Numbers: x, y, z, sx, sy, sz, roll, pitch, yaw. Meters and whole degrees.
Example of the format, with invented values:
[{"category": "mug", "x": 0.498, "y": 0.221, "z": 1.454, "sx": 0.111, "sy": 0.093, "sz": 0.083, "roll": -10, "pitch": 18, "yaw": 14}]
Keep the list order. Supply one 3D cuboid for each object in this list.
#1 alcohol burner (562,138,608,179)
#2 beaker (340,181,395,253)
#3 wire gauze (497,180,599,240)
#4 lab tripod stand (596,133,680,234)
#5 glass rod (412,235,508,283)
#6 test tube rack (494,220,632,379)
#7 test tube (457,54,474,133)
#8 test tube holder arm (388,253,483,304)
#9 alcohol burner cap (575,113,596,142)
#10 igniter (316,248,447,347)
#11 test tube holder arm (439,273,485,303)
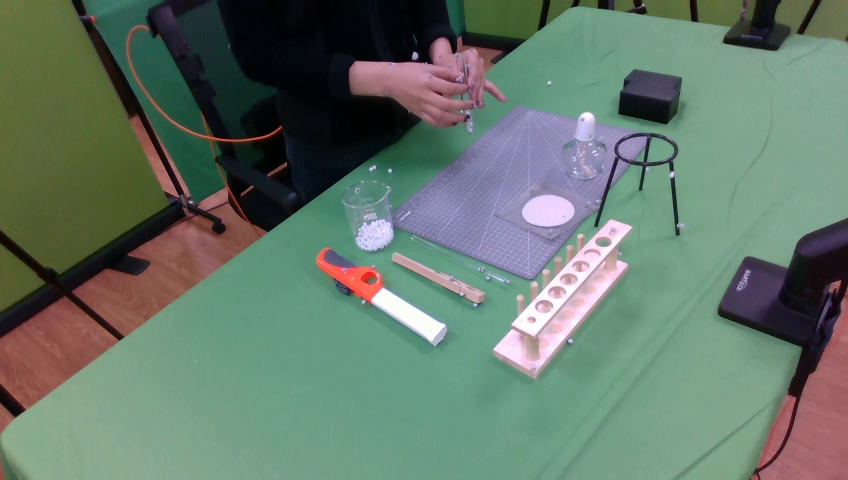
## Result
[{"category": "alcohol burner", "x": 0.280, "y": -0.166, "z": 1.051, "sx": 0.078, "sy": 0.119, "sz": 0.077, "roll": -5, "pitch": 39, "yaw": 4}, {"category": "beaker", "x": -0.086, "y": -0.037, "z": 0.985, "sx": 0.084, "sy": 0.101, "sz": 0.073, "roll": -18, "pitch": 41, "yaw": -11}, {"category": "wire gauze", "x": 0.207, "y": -0.050, "z": 1.011, "sx": 0.125, "sy": 0.011, "sz": 0.120, "roll": -34, "pitch": 45, "yaw": -26}, {"category": "lab tripod stand", "x": 0.338, "y": -0.090, "z": 0.940, "sx": 0.148, "sy": 0.132, "sz": 0.147, "roll": -7, "pitch": 38, "yaw": 6}, {"category": "glass rod", "x": 0.051, "y": 0.028, "z": 0.951, "sx": 0.198, "sy": 0.008, "sz": 0.008, "roll": 25, "pitch": 51, "yaw": 37}, {"category": "test tube rack", "x": 0.191, "y": 0.068, "z": 0.818, "sx": 0.066, "sy": 0.085, "sz": 0.243, "roll": 25, "pitch": 51, "yaw": 35}, {"category": "test tube", "x": 0.071, "y": -0.245, "z": 1.026, "sx": 0.017, "sy": 0.151, "sz": 0.017, "roll": -6, "pitch": 44, "yaw": 6}, {"category": "test tube holder arm", "x": 0.014, "y": 0.056, "z": 0.915, "sx": 0.177, "sy": 0.015, "sz": 0.013, "roll": 23, "pitch": 12, "yaw": 31}, {"category": "alcohol burner cap", "x": 0.277, "y": -0.193, "z": 1.028, "sx": 0.034, "sy": 0.048, "sz": 0.033, "roll": -2, "pitch": 45, "yaw": 3}, {"category": "igniter", "x": -0.074, "y": 0.079, "z": 0.901, "sx": 0.274, "sy": 0.025, "sz": 0.057, "roll": 29, "pitch": 63, "yaw": 36}, {"category": "test tube holder arm", "x": 0.052, "y": 0.071, "z": 0.895, "sx": 0.087, "sy": 0.015, "sz": 0.010, "roll": 24, "pitch": 12, "yaw": 33}]
